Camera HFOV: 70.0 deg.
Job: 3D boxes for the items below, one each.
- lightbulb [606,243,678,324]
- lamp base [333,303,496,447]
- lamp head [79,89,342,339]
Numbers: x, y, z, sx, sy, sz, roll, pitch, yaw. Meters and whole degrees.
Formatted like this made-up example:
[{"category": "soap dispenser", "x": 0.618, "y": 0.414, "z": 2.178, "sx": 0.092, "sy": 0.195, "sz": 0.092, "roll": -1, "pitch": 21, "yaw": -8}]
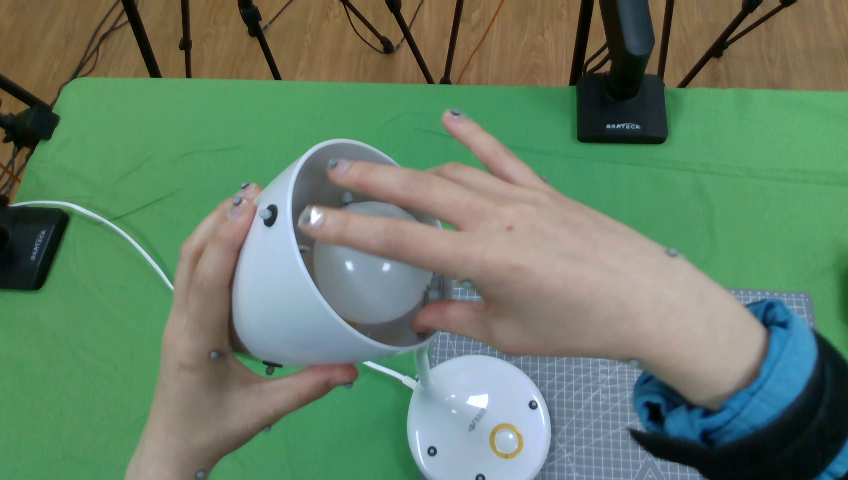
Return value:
[{"category": "lightbulb", "x": 0.241, "y": 0.046, "z": 0.684, "sx": 0.059, "sy": 0.060, "sz": 0.106, "roll": -23, "pitch": 55, "yaw": -4}, {"category": "lamp base", "x": -0.019, "y": 0.120, "z": 0.606, "sx": 0.179, "sy": 0.181, "sz": 0.159, "roll": 6, "pitch": 71, "yaw": 9}, {"category": "lamp head", "x": -0.116, "y": 0.002, "z": 0.308, "sx": 0.113, "sy": 0.123, "sz": 0.111, "roll": 18, "pitch": 59, "yaw": -33}]
